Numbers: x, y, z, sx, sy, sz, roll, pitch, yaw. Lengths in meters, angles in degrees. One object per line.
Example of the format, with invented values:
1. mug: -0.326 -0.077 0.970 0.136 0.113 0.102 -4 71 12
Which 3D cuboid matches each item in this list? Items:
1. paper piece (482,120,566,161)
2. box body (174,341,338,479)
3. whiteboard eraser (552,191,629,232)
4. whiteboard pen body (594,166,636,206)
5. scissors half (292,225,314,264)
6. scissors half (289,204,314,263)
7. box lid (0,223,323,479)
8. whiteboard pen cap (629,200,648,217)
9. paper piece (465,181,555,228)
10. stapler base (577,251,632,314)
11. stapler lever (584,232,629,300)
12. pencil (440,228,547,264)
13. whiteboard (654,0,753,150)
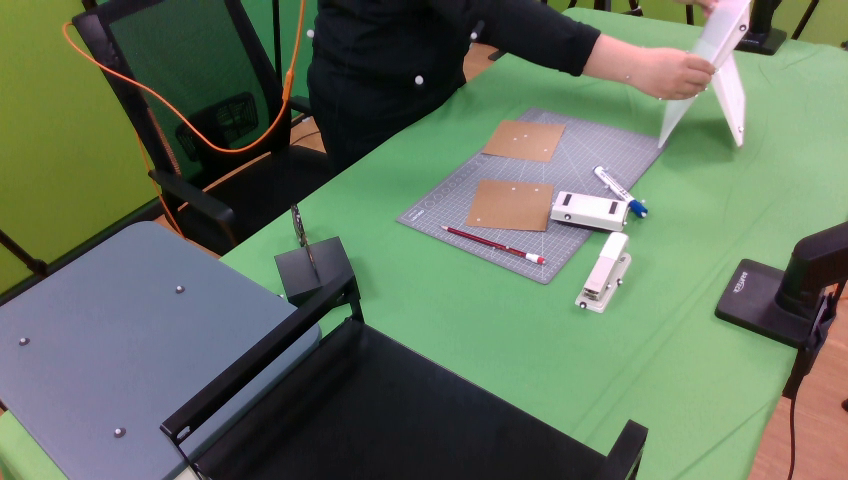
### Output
1. paper piece: 0.198 -0.199 1.188 0.135 0.004 0.135 11 44 21
2. box body: -0.311 0.165 0.720 0.361 0.161 0.255 23 48 32
3. whiteboard eraser: 0.266 -0.043 0.967 0.112 0.042 0.055 11 42 20
4. whiteboard pen body: 0.330 -0.086 1.027 0.017 0.017 0.139 -16 41 -10
5. scissors half: -0.188 0.007 0.955 0.013 0.040 0.174 -20 22 -12
6. scissors half: -0.191 -0.010 0.945 0.013 0.040 0.173 -16 37 -15
7. box lid: -0.318 0.109 0.671 0.368 0.015 0.264 24 49 31
8. whiteboard pen cap: 0.348 -0.052 0.983 0.018 0.018 0.033 -18 43 -12
9. paper piece: 0.149 -0.062 1.034 0.137 0.009 0.136 4 37 17
10. stapler base: 0.264 0.051 0.875 0.041 0.024 0.131 16 47 30
11. stapler lever: 0.261 0.034 0.858 0.026 0.040 0.118 16 46 30
12. pencil: 0.105 0.007 0.957 0.192 0.012 0.012 18 46 30
13. whiteboard: 0.544 -0.302 1.037 0.143 0.306 0.217 24 51 7
